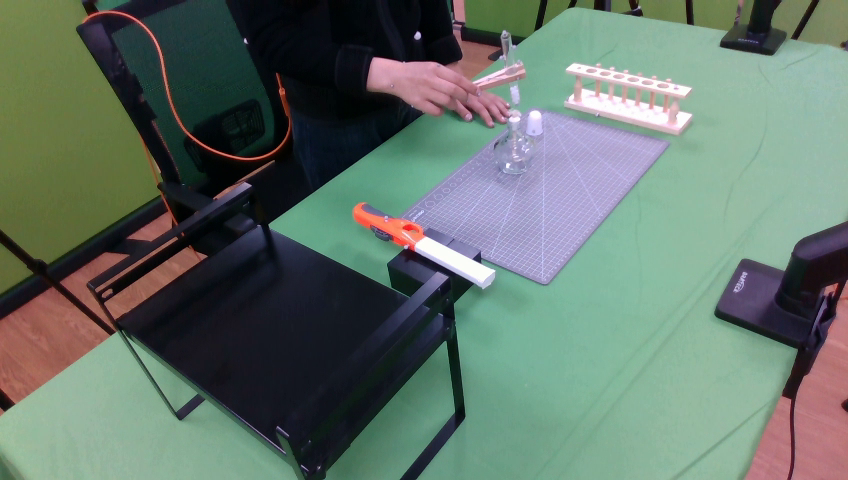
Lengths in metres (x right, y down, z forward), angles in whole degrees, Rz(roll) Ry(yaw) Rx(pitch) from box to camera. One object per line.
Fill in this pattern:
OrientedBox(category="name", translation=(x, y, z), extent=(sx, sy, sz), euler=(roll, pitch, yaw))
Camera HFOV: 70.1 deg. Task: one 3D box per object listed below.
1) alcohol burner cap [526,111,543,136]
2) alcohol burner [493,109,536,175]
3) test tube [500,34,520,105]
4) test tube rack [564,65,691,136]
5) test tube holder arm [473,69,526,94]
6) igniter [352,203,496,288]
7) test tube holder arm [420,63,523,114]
OrientedBox(category="alcohol burner cap", translation=(0.219, -0.232, 1.196), extent=(0.034, 0.048, 0.033), euler=(-4, 41, 4))
OrientedBox(category="alcohol burner", translation=(0.163, -0.179, 1.087), extent=(0.078, 0.119, 0.077), euler=(-5, 39, 4))
OrientedBox(category="test tube", translation=(0.139, -0.270, 0.972), extent=(0.017, 0.151, 0.017), euler=(-7, 60, 12))
OrientedBox(category="test tube rack", translation=(0.404, -0.288, 1.204), extent=(0.240, 0.085, 0.067), euler=(24, 49, 32))
OrientedBox(category="test tube holder arm", translation=(0.121, -0.256, 0.978), extent=(0.087, 0.015, 0.010), euler=(-15, 62, 9))
OrientedBox(category="igniter", translation=(-0.011, 0.002, 0.899), extent=(0.274, 0.025, 0.057), euler=(27, 45, 33))
OrientedBox(category="test tube holder arm", translation=(0.078, -0.246, 0.986), extent=(0.178, 0.015, 0.013), euler=(-22, 61, 5))
